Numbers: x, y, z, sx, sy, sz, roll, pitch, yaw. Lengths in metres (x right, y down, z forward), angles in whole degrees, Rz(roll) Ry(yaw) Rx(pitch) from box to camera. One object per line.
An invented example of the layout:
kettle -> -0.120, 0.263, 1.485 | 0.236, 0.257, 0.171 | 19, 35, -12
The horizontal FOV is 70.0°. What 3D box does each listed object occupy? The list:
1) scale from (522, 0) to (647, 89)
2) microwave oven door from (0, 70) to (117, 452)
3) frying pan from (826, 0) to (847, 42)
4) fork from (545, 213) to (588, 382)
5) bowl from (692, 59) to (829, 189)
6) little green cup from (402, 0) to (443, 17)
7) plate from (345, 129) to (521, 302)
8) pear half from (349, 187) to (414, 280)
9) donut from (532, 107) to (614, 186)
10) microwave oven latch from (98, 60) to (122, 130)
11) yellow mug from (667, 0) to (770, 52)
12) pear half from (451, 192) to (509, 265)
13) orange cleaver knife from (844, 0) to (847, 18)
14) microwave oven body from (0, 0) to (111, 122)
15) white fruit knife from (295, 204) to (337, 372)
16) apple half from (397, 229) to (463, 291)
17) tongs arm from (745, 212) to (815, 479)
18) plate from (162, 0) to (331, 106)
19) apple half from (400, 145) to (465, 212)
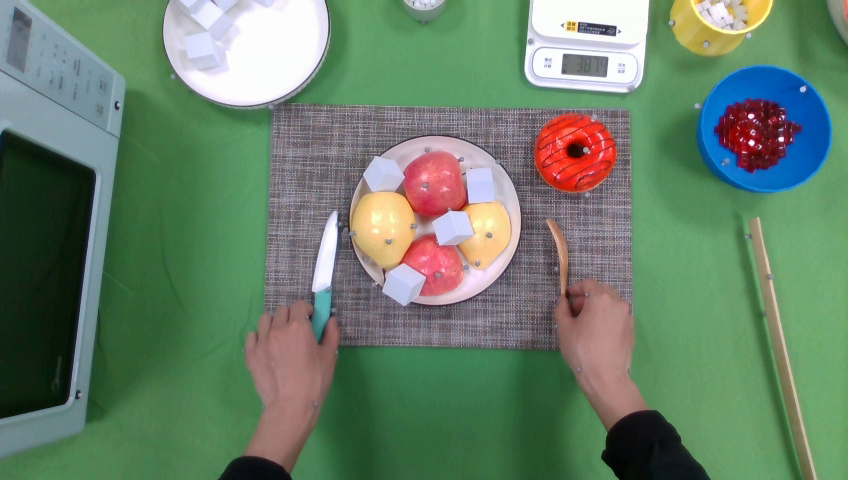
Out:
scale -> 0.205, -0.295, 0.765 | 0.148, 0.031, 0.200 | 5, 85, 1
microwave oven door -> -0.406, 0.029, 0.611 | 0.039, 0.244, 0.355 | 3, 84, 1
frying pan -> 0.676, -0.236, 0.720 | 0.307, 0.103, 0.485 | -26, 76, -1
fork -> 0.172, 0.068, 0.730 | 0.018, 0.028, 0.207 | -10, 86, 24
bowl -> 0.385, -0.129, 0.724 | 0.151, 0.077, 0.151 | 0, 85, 1
little green cup -> -0.002, -0.315, 0.765 | 0.061, 0.039, 0.061 | 0, 83, 1
plate -> 0.012, -0.028, 0.731 | 0.209, 0.038, 0.208 | 0, 84, 0
pear half -> -0.047, -0.008, 0.708 | 0.076, 0.056, 0.109 | -5, 88, -8
donut -> 0.180, -0.113, 0.736 | 0.099, 0.048, 0.099 | 0, 84, 3
microwave oven latch -> -0.387, -0.176, 0.734 | 0.030, 0.029, 0.079 | 5, 85, 0
yellow mug -> 0.353, -0.306, 0.748 | 0.100, 0.064, 0.130 | -31, 84, -2
pear half -> 0.065, -0.015, 0.723 | 0.070, 0.031, 0.087 | 3, 81, 14
orange cleaver knife -> 0.513, -0.305, 0.708 | 0.077, 0.012, 0.210 | -9, 84, -4
microwave oven body -> -0.548, -0.022, 0.622 | 0.326, 0.260, 0.440 | 4, 85, 0
white fruit knife -> -0.126, 0.057, 0.733 | 0.027, 0.016, 0.207 | 8, 84, 3
apple half -> 0.006, 0.023, 0.717 | 0.081, 0.033, 0.081 | 0, 78, -1
tongs arm -> 0.441, 0.154, 0.715 | 0.051, 0.026, 0.383 | -7, 85, -4
plate -> -0.218, -0.266, 0.762 | 0.208, 0.039, 0.207 | 0, 84, 0
apple half -> 0.009, -0.074, 0.719 | 0.074, 0.053, 0.080 | -11, 87, 2
